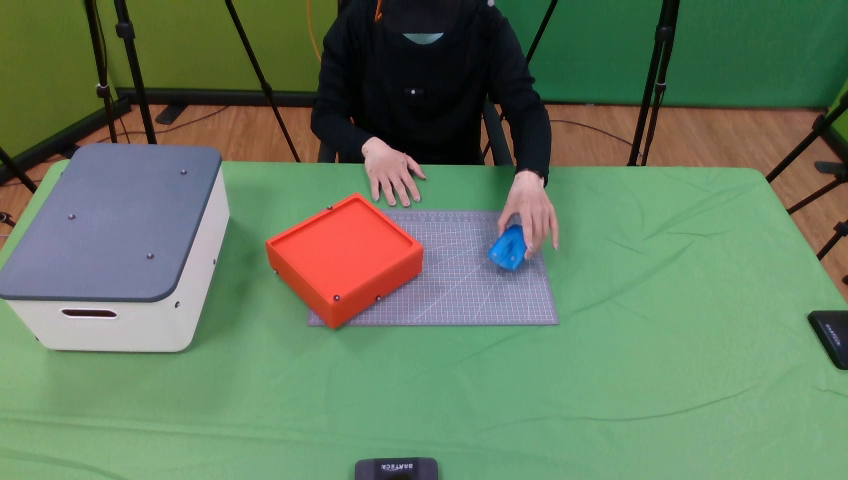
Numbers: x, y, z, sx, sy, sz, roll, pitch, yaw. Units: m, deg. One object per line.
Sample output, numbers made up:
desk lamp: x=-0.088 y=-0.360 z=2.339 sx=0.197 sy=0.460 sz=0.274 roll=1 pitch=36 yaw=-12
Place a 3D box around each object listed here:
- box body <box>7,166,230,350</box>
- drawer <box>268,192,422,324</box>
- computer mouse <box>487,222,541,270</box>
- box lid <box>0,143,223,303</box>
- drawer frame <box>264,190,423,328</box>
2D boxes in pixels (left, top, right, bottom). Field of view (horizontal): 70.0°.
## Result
box body: x=-0.502 y=0.008 z=1.054 sx=0.254 sy=0.161 sz=0.361 roll=1 pitch=46 yaw=-3
drawer: x=-0.143 y=0.028 z=1.116 sx=0.212 sy=0.073 sz=0.193 roll=-33 pitch=57 yaw=-29
computer mouse: x=0.175 y=0.009 z=1.163 sx=0.062 sy=0.041 sz=0.117 roll=33 pitch=51 yaw=21
box lid: x=-0.499 y=-0.045 z=1.002 sx=0.263 sy=0.015 sz=0.369 roll=2 pitch=46 yaw=-3
drawer frame: x=-0.144 y=0.028 z=1.114 sx=0.213 sy=0.083 sz=0.200 roll=-34 pitch=57 yaw=-29
